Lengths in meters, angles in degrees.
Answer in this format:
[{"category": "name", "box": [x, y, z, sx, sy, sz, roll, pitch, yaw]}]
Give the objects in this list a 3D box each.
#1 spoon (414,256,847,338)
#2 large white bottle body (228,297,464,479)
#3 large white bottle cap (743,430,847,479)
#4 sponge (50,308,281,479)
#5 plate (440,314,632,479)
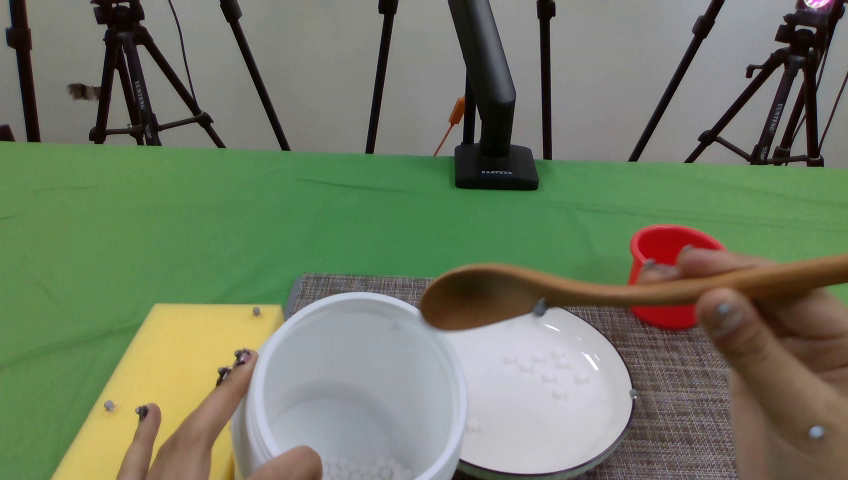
[{"category": "spoon", "box": [0.085, 0.023, 0.250, 0.193, 0.042, 0.021, -6, 41, 25]}, {"category": "large white bottle body", "box": [-0.053, 0.123, 0.376, 0.131, 0.185, 0.129, 8, 57, -12]}, {"category": "large white bottle cap", "box": [0.311, 0.198, 0.470, 0.115, 0.018, 0.114, 3, 35, -2]}, {"category": "sponge", "box": [-0.193, 0.143, 0.489, 0.118, 0.061, 0.205, 0, 34, 1]}, {"category": "plate", "box": [0.073, 0.132, 0.536, 0.209, 0.038, 0.207, 2, 34, -1]}]
